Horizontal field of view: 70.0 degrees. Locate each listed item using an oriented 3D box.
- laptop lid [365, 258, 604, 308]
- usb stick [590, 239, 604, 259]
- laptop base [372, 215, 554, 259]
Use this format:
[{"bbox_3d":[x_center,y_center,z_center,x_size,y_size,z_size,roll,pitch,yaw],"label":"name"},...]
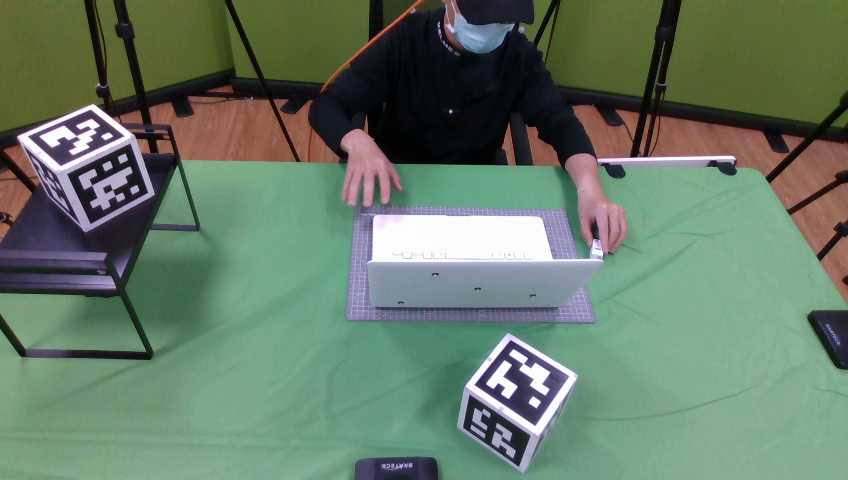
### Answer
[{"bbox_3d":[0.085,0.074,0.978,0.357,0.242,0.013,1,67,-5],"label":"laptop lid"},{"bbox_3d":[0.340,0.027,1.189,0.021,0.027,0.059,17,48,2],"label":"usb stick"},{"bbox_3d":[0.075,0.037,1.167,0.355,0.023,0.234,0,43,-4],"label":"laptop base"}]
